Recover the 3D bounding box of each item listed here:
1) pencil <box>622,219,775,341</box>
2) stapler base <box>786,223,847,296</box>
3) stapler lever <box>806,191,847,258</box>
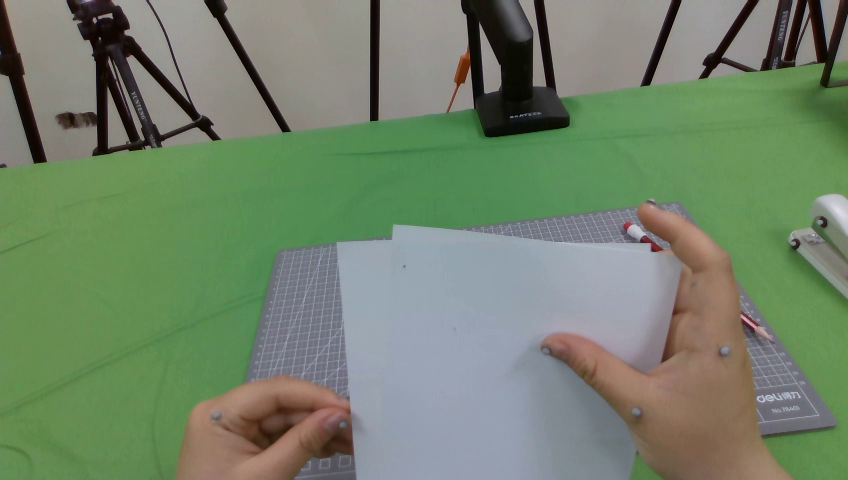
[{"bbox_3d":[0.248,0.032,0.564,0.012,0.012,0.192,-19,39,-14],"label":"pencil"},{"bbox_3d":[0.386,0.019,0.551,0.041,0.025,0.129,-12,39,-2],"label":"stapler base"},{"bbox_3d":[0.384,0.000,0.534,0.027,0.040,0.117,-12,39,-2],"label":"stapler lever"}]
